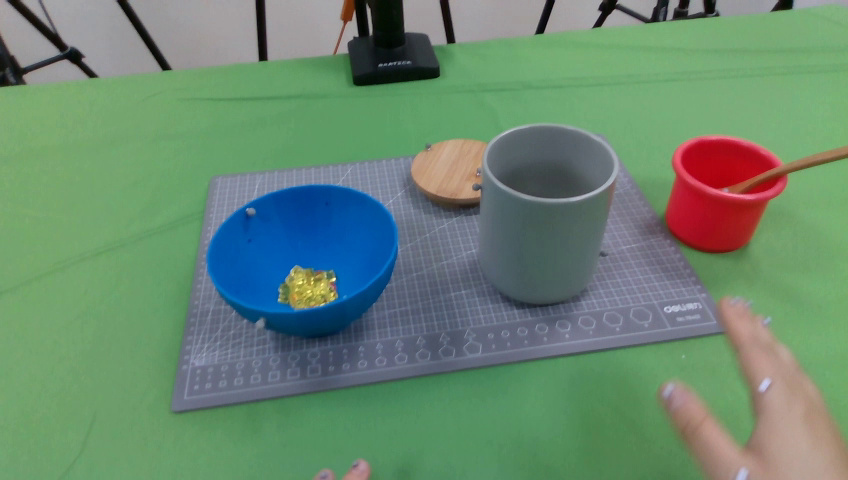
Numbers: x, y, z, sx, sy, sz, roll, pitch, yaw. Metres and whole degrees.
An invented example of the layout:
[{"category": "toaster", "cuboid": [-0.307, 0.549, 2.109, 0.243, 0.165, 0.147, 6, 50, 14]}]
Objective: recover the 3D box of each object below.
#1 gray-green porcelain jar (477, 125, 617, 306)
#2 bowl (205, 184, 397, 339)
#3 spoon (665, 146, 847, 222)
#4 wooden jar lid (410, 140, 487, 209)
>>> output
[{"category": "gray-green porcelain jar", "cuboid": [0.098, -0.016, 0.510, 0.106, 0.127, 0.105, -1, 43, 1]}, {"category": "bowl", "cuboid": [-0.095, 0.029, 0.505, 0.151, 0.077, 0.150, -1, 43, 1]}, {"category": "spoon", "cuboid": [0.307, -0.053, 0.535, 0.022, 0.193, 0.041, 48, 47, -14]}, {"category": "wooden jar lid", "cuboid": [0.039, -0.069, 0.648, 0.108, 0.021, 0.107, -1, 42, 2]}]
